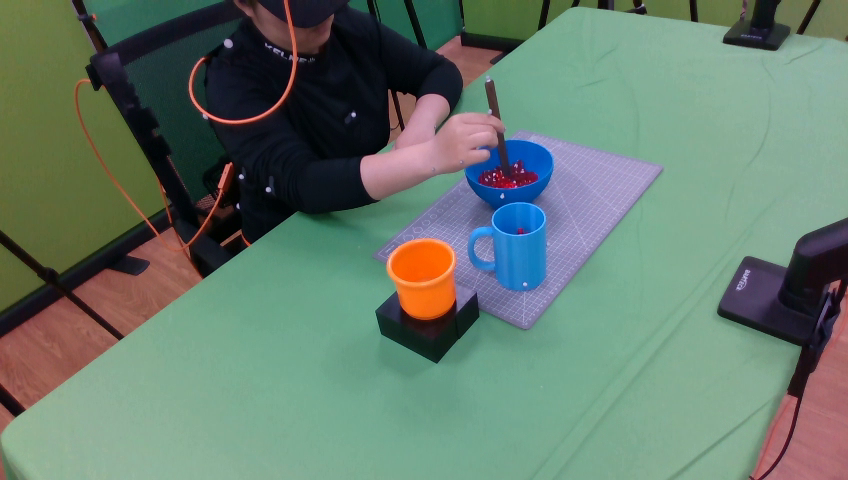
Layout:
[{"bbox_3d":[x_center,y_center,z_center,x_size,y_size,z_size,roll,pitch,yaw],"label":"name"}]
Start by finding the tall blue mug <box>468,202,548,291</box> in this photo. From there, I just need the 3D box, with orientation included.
[{"bbox_3d":[0.125,0.015,0.868,0.107,0.108,0.077,-21,42,-14],"label":"tall blue mug"}]

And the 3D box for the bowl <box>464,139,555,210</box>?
[{"bbox_3d":[0.145,-0.100,1.025,0.151,0.077,0.150,-5,40,5],"label":"bowl"}]

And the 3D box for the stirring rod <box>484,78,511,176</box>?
[{"bbox_3d":[0.112,-0.166,0.911,0.014,0.177,0.005,-28,43,-9],"label":"stirring rod"}]
